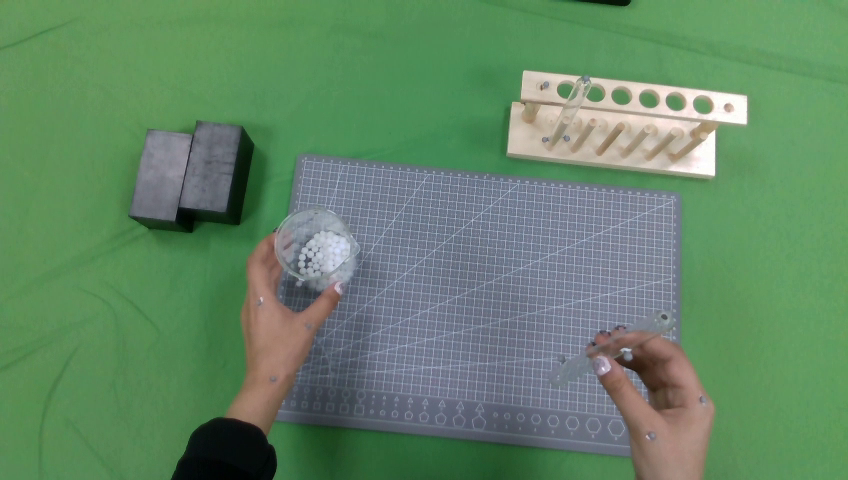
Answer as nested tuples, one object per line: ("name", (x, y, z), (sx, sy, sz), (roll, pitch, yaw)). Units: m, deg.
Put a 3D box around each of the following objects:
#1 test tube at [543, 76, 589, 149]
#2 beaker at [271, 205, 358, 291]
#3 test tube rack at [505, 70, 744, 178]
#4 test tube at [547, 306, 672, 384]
("test tube", (0.148, -0.130, 0.638), (0.017, 0.151, 0.017), (0, 76, 0))
("beaker", (-0.107, 0.013, 0.633), (0.084, 0.100, 0.073), (6, 77, -1))
("test tube rack", (0.220, -0.129, 0.685), (0.242, 0.085, 0.066), (6, 77, 0))
("test tube", (0.139, 0.087, 0.476), (0.017, 0.151, 0.017), (10, 58, -17))
